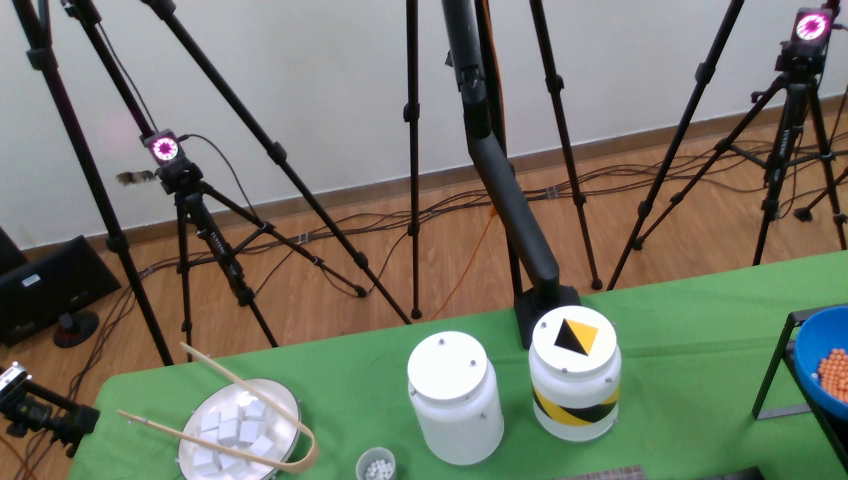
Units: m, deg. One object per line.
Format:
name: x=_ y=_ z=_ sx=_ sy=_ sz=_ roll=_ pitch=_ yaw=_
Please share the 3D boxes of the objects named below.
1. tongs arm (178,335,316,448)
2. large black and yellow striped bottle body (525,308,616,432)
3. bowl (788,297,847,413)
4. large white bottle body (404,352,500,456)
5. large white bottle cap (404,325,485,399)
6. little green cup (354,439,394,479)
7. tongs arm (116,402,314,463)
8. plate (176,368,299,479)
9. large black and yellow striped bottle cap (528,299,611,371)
tongs arm: x=-0.315 y=0.249 z=1.045 sx=0.384 sy=0.028 sz=0.028 roll=22 pitch=49 yaw=33
large black and yellow striped bottle body: x=0.221 y=0.191 z=0.914 sx=0.130 sy=0.186 sz=0.129 roll=-7 pitch=45 yaw=7
bowl: x=0.501 y=0.149 z=0.707 sx=0.151 sy=0.077 sz=0.150 roll=-6 pitch=45 yaw=7
large white bottle body: x=0.043 y=0.228 z=0.919 sx=0.130 sy=0.186 sz=0.129 roll=-7 pitch=45 yaw=7
large white bottle cap: x=0.029 y=0.170 z=0.858 sx=0.115 sy=0.018 sz=0.113 roll=-7 pitch=45 yaw=7
little green cup: x=-0.075 y=0.345 z=0.937 sx=0.061 sy=0.039 sz=0.061 roll=-6 pitch=46 yaw=7
tongs arm: x=-0.354 y=0.304 z=0.998 sx=0.382 sy=0.027 sz=0.050 roll=9 pitch=46 yaw=24
plate: x=-0.309 y=0.315 z=1.022 sx=0.207 sy=0.039 sz=0.205 roll=-7 pitch=45 yaw=7
large black and yellow striped bottle cap: x=0.205 y=0.132 z=0.856 sx=0.115 sy=0.019 sz=0.114 roll=-6 pitch=45 yaw=6
